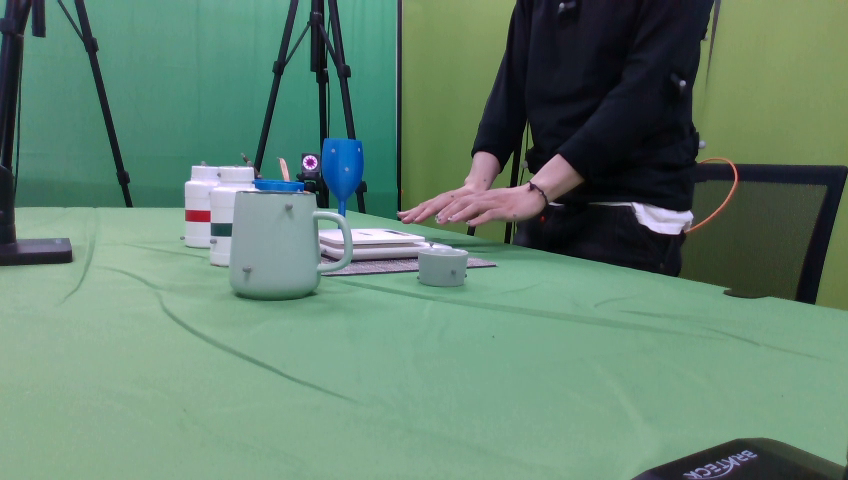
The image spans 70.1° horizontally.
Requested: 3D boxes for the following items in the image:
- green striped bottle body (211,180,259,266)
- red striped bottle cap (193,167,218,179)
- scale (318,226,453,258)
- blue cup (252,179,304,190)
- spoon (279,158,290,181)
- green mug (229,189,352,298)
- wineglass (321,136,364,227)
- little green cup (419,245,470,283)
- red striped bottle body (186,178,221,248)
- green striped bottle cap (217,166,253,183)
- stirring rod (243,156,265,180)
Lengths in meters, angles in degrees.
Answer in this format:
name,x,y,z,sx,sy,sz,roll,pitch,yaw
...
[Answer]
name,x,y,z,sx,sy,sz,roll,pitch,yaw
green striped bottle body,-0.243,-0.029,0.784,0.063,0.119,0.063,2,7,0
red striped bottle cap,-0.329,-0.103,0.921,0.044,0.017,0.044,0,9,0
scale,-0.067,0.001,0.906,0.202,0.031,0.148,-2,8,-31
blue cup,-0.230,-0.040,0.929,0.093,0.100,0.092,4,6,0
spoon,-0.281,-0.103,1.251,0.042,0.193,0.021,8,-40,-30
green mug,-0.135,0.002,0.618,0.125,0.105,0.092,2,7,4
wineglass,-0.138,-0.086,1.020,0.074,0.172,0.073,2,7,0
little green cup,0.023,0.028,0.713,0.061,0.038,0.061,1,6,0
red striped bottle body,-0.331,-0.050,0.927,0.063,0.119,0.063,2,7,0
green striped bottle cap,-0.242,-0.085,0.777,0.044,0.020,0.044,2,9,0
stirring rod,-0.304,-0.099,1.201,0.006,0.177,0.014,-26,37,8
